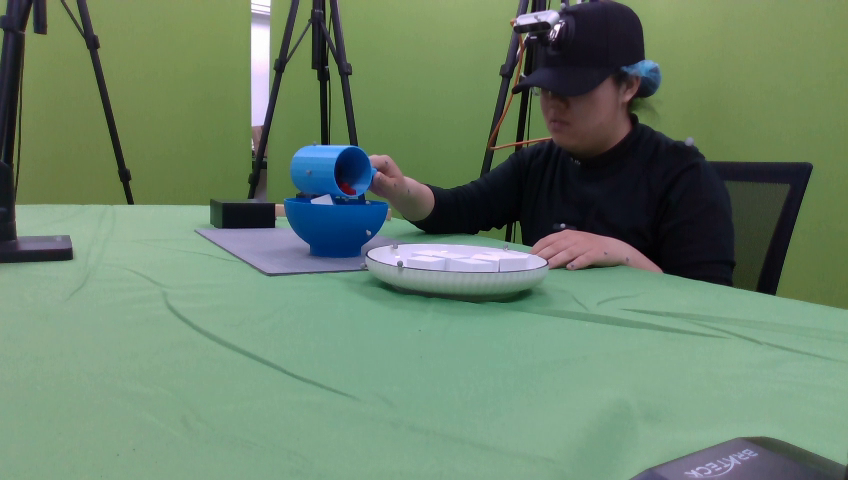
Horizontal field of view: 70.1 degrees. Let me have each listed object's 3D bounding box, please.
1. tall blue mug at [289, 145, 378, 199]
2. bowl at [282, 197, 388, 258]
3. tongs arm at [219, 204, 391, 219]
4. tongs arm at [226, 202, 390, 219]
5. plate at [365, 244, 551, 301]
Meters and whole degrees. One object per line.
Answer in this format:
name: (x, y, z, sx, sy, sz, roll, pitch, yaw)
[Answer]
tall blue mug: (-0.132, -0.113, 0.929, 0.107, 0.078, 0.107, 8, 36, 43)
bowl: (-0.127, -0.018, 0.868, 0.151, 0.077, 0.151, 3, 7, 0)
tongs arm: (-0.258, -0.064, 1.367, 0.386, 0.026, 0.050, 1, 3, -17)
tongs arm: (-0.275, -0.071, 1.446, 0.388, 0.027, 0.028, 2, -1, -4)
plate: (0.038, 0.036, 0.685, 0.209, 0.038, 0.209, 2, 7, 0)
